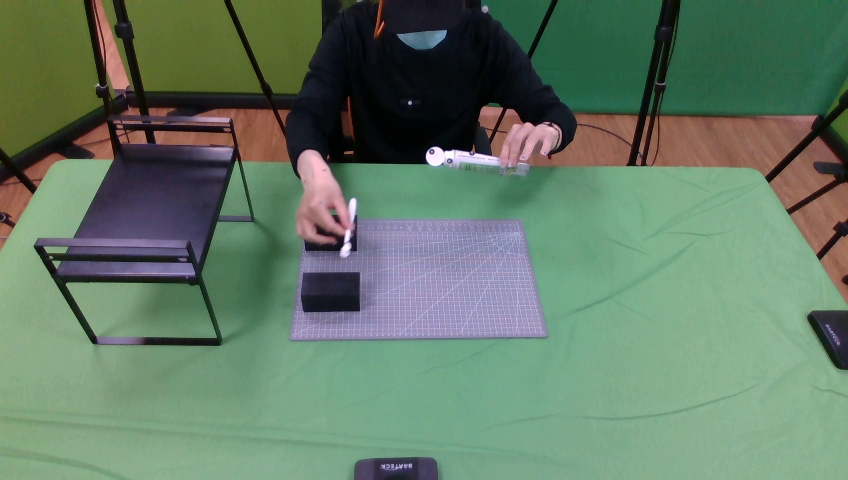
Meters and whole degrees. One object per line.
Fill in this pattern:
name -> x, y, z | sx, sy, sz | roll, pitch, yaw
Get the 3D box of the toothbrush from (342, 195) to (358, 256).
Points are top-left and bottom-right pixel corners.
toothbrush -> -0.131, -0.032, 1.087 | 0.014, 0.017, 0.181 | 17, 34, -13

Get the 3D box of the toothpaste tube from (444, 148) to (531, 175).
toothpaste tube -> 0.113, -0.146, 1.123 | 0.165, 0.055, 0.034 | 9, 77, 3

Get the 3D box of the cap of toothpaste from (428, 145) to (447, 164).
cap of toothpaste -> 0.024, -0.156, 1.108 | 0.037, 0.037, 0.011 | -7, 13, -10
